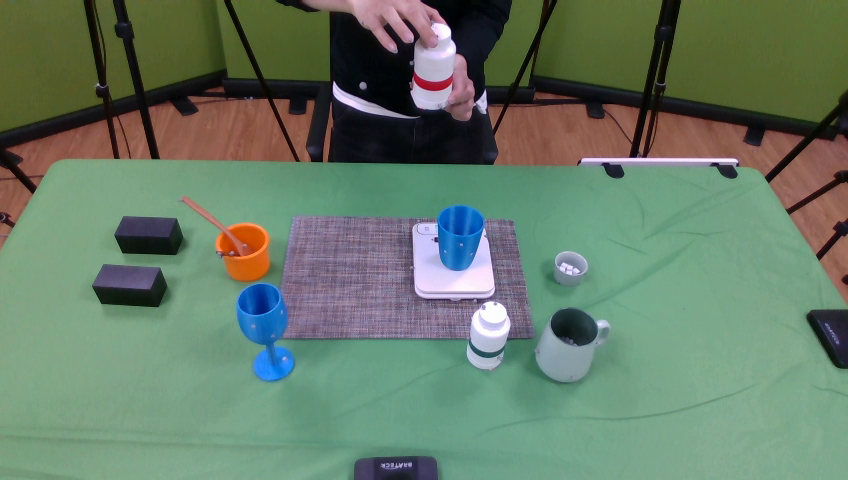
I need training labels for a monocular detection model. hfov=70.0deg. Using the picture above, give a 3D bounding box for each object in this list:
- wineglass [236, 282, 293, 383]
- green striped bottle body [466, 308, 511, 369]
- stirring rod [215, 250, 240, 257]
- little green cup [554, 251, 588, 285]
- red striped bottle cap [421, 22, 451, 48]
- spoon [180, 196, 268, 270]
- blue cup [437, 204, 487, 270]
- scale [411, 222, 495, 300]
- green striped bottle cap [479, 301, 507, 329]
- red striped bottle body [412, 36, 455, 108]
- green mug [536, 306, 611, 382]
[{"bbox_3d":[-0.243,0.143,0.934,0.074,0.173,0.073,2,46,-2],"label":"wineglass"},{"bbox_3d":[0.106,0.154,0.988,0.063,0.120,0.063,2,46,-2],"label":"green striped bottle body"},{"bbox_3d":[-0.339,0.024,1.059,0.014,0.176,0.006,16,86,-6],"label":"stirring rod"},{"bbox_3d":[0.276,0.055,1.151,0.061,0.039,0.061,1,46,-1],"label":"little green cup"},{"bbox_3d":[0.018,-0.300,0.886,0.044,0.018,0.044,0,51,0],"label":"red striped bottle cap"},{"bbox_3d":[-0.360,-0.014,1.094,0.021,0.194,0.041,-27,26,31],"label":"spoon"},{"bbox_3d":[0.063,0.001,1.098,0.093,0.101,0.092,2,43,-2],"label":"blue cup"},{"bbox_3d":[0.052,0.031,1.158,0.149,0.032,0.199,1,46,-4],"label":"scale"},{"bbox_3d":[0.109,0.118,0.950,0.044,0.020,0.044,2,47,-2],"label":"green striped bottle cap"},{"bbox_3d":[0.014,-0.267,0.928,0.063,0.120,0.062,2,52,-2],"label":"red striped bottle body"},{"bbox_3d":[0.250,0.167,0.996,0.125,0.105,0.092,-15,48,-19],"label":"green mug"}]
